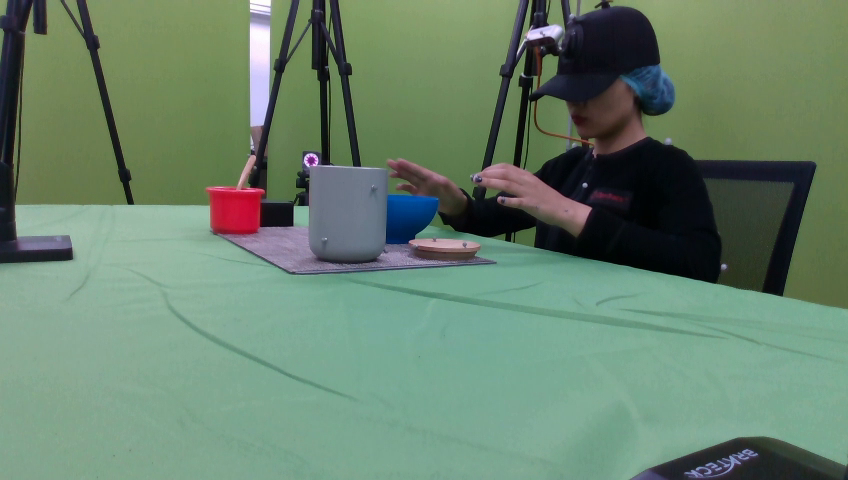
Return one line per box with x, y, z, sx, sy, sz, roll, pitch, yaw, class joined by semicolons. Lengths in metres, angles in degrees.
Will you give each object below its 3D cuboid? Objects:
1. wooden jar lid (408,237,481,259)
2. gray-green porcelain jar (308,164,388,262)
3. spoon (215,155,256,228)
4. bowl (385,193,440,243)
0.031;0.012;0.895;0.108;0.020;0.108;2;8;0;wooden jar lid
-0.103;-0.038;0.818;0.106;0.126;0.106;2;7;0;gray-green porcelain jar
-0.332;-0.091;1.092;0.041;0.021;0.193;3;52;4;spoon
-0.050;-0.038;1.033;0.151;0.077;0.151;3;7;0;bowl
